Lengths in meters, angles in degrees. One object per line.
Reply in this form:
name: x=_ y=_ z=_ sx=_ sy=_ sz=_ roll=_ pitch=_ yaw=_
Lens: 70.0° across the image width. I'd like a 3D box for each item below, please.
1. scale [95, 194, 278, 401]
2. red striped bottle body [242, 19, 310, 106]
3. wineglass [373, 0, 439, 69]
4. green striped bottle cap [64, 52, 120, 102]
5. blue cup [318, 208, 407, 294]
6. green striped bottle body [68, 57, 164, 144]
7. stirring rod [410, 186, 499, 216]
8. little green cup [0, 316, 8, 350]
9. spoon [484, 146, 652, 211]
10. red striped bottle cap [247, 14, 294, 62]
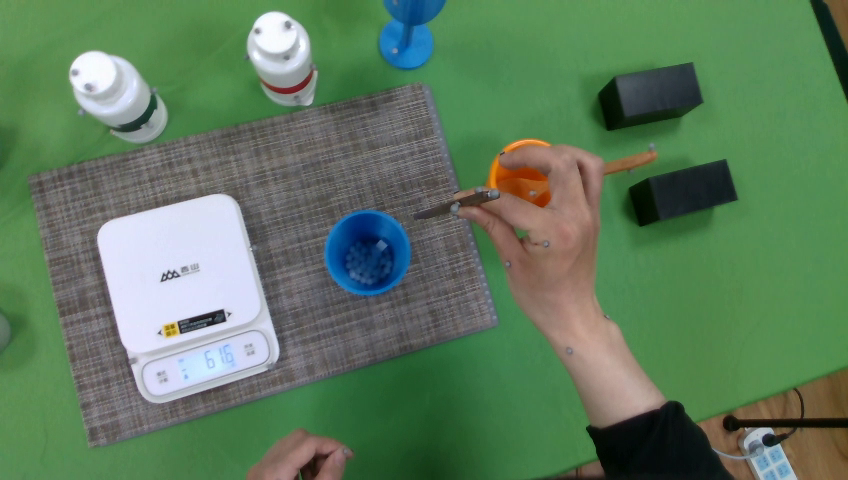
scale: x=-0.253 y=0.059 z=0.650 sx=0.149 sy=0.031 sz=0.200 roll=-17 pitch=85 yaw=-8
red striped bottle body: x=-0.158 y=-0.193 z=0.652 sx=0.063 sy=0.120 sz=0.063 roll=1 pitch=82 yaw=-7
wineglass: x=-0.021 y=-0.250 z=0.647 sx=0.074 sy=0.172 sz=0.073 roll=1 pitch=82 yaw=-6
green striped bottle cap: x=-0.314 y=-0.154 z=0.572 sx=0.044 sy=0.020 sz=0.044 roll=1 pitch=83 yaw=-5
blue cup: x=-0.063 y=0.016 z=0.642 sx=0.093 sy=0.100 sz=0.092 roll=1 pitch=83 yaw=-5
green striped bottle body: x=-0.320 y=-0.145 z=0.627 sx=0.063 sy=0.119 sz=0.063 roll=1 pitch=82 yaw=-6
stirring rod: x=0.018 y=-0.028 z=0.475 sx=0.014 sy=0.175 sz=0.006 roll=-4 pitch=89 yaw=-17
little green cup: x=-0.464 y=0.096 z=0.621 sx=0.062 sy=0.038 sz=0.061 roll=1 pitch=83 yaw=-7
spoon: x=0.149 y=-0.068 z=0.656 sx=0.022 sy=0.193 sz=0.041 roll=-12 pitch=89 yaw=-52
red striped bottle cap: x=-0.152 y=-0.200 z=0.599 sx=0.044 sy=0.018 sz=0.044 roll=1 pitch=81 yaw=-5
